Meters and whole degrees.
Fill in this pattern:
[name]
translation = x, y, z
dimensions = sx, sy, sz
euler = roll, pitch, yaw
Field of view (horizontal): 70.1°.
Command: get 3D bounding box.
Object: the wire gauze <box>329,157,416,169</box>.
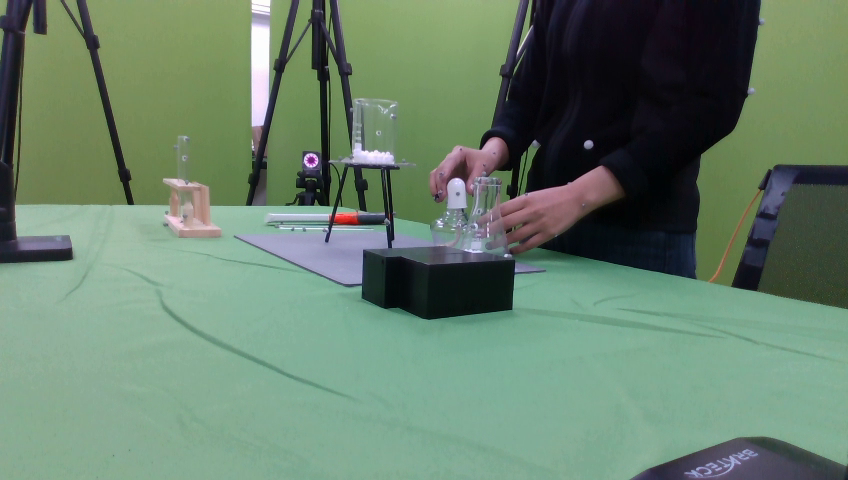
[wire gauze]
translation = -0.079, -0.125, 0.972
dimensions = 0.121, 0.011, 0.125
euler = 6, 6, 5

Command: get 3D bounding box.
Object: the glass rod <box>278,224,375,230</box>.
[glass rod]
translation = -0.186, -0.024, 1.178
dimensions = 0.201, 0.008, 0.008
euler = 1, 6, -31

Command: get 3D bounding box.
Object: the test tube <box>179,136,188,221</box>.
[test tube]
translation = -0.425, -0.108, 1.070
dimensions = 0.017, 0.150, 0.017
euler = 4, 9, 0

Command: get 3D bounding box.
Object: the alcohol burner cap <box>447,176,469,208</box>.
[alcohol burner cap]
translation = 0.049, -0.071, 0.908
dimensions = 0.034, 0.048, 0.034
euler = -5, 10, 1

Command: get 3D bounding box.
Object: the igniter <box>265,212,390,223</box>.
[igniter]
translation = -0.196, -0.048, 1.286
dimensions = 0.278, 0.025, 0.057
euler = -2, -2, -30

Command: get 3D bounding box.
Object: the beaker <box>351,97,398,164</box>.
[beaker]
translation = -0.078, -0.172, 0.962
dimensions = 0.074, 0.100, 0.084
euler = 6, 8, 18

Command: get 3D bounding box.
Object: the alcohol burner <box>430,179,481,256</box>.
[alcohol burner]
translation = 0.049, -0.036, 0.913
dimensions = 0.078, 0.119, 0.078
euler = 3, 9, 0

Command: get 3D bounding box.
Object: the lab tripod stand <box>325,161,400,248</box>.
[lab tripod stand]
translation = -0.083, -0.059, 0.977
dimensions = 0.148, 0.131, 0.148
euler = 4, 8, 0

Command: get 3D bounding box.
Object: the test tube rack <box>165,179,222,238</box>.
[test tube rack]
translation = -0.423, -0.062, 1.098
dimensions = 0.067, 0.085, 0.241
euler = -2, 9, -28

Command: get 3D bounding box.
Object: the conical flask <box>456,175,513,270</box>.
[conical flask]
translation = 0.083, -0.025, 0.801
dimensions = 0.075, 0.122, 0.075
euler = 2, 7, 0
